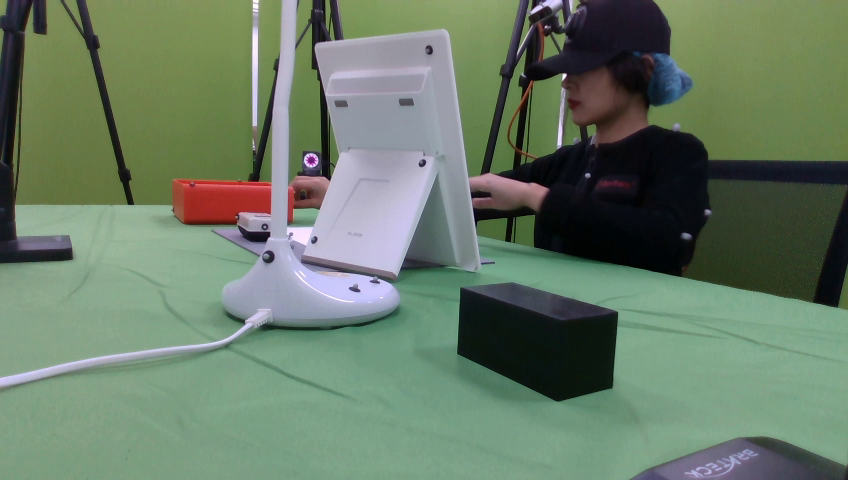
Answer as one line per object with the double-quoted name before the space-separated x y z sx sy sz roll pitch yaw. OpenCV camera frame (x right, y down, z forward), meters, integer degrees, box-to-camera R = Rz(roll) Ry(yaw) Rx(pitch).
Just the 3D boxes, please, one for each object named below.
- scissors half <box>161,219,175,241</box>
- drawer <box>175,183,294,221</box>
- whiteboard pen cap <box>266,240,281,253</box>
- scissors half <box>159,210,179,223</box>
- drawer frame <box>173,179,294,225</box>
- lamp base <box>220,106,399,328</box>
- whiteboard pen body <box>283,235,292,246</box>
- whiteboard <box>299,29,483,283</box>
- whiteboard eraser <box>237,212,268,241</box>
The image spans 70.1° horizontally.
"scissors half" -0.508 -0.055 1.262 0.013 0.040 0.175 9 39 3
"drawer" -0.402 -0.082 1.279 0.213 0.073 0.193 -2 10 -28
"whiteboard pen cap" -0.202 0.009 0.813 0.018 0.018 0.033 1 3 -8
"scissors half" -0.507 -0.066 1.256 0.013 0.040 0.175 3 22 4
"drawer frame" -0.404 -0.083 1.277 0.215 0.082 0.200 -2 9 -29
"lamp base" -0.101 -0.023 0.531 0.160 0.180 0.179 4 10 10
"whiteboard pen body" -0.206 0.005 0.872 0.017 0.017 0.140 2 4 -6
"whiteboard" -0.074 -0.082 0.742 0.216 0.305 0.144 9 29 38
"whiteboard eraser" -0.272 -0.023 0.998 0.056 0.042 0.112 -3 9 -26
